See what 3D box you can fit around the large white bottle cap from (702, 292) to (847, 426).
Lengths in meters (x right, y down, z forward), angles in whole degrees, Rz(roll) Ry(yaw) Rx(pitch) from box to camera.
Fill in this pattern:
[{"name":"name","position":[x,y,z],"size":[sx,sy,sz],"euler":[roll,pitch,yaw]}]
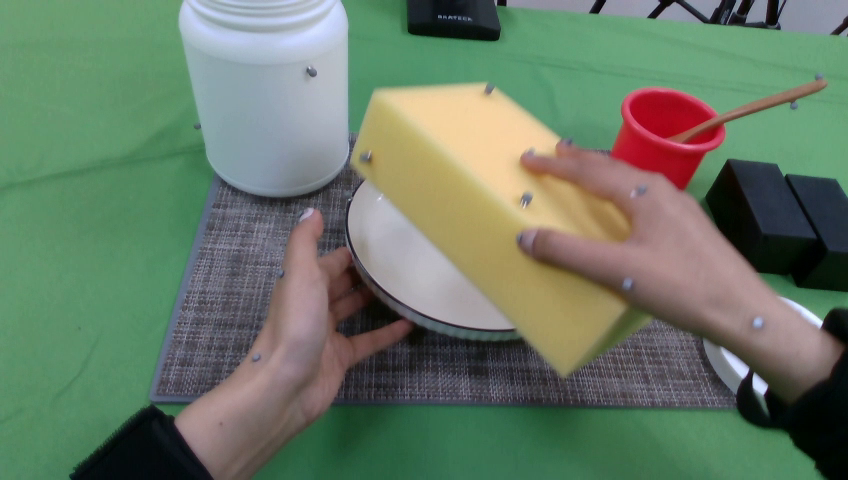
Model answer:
[{"name":"large white bottle cap","position":[0.280,0.090,0.479],"size":[0.115,0.018,0.113],"euler":[6,47,-6]}]

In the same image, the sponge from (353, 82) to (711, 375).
[{"name":"sponge","position":[0.065,-0.023,0.399],"size":[0.118,0.061,0.205],"euler":[-19,55,-44]}]

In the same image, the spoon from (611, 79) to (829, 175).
[{"name":"spoon","position":[0.271,-0.106,0.570],"size":[0.193,0.022,0.041],"euler":[-24,37,31]}]

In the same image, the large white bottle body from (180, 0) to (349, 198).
[{"name":"large white bottle body","position":[-0.130,-0.142,0.516],"size":[0.131,0.186,0.129],"euler":[4,47,-4]}]

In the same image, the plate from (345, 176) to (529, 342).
[{"name":"plate","position":[0.039,0.003,0.504],"size":[0.209,0.038,0.207],"euler":[6,46,-6]}]
